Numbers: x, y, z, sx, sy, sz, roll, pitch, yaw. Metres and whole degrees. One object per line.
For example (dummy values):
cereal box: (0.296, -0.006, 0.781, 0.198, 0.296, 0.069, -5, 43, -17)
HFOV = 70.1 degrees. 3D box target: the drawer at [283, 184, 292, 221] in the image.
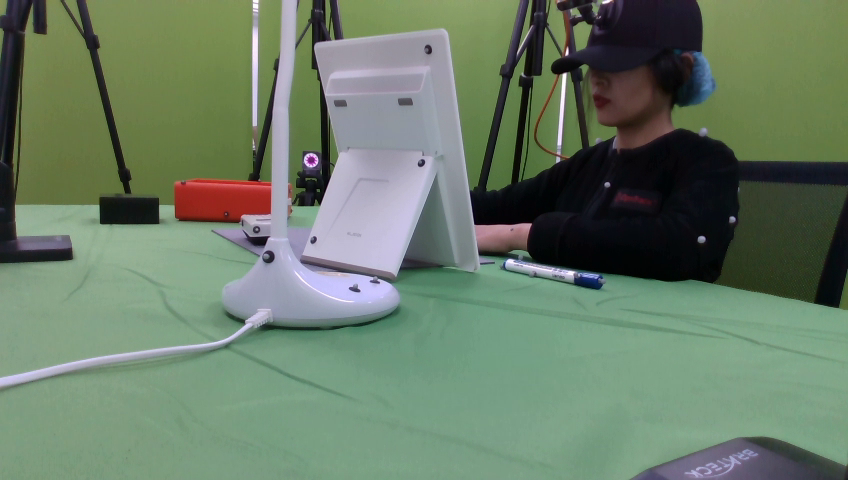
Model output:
drawer: (-0.397, -0.086, 1.314, 0.212, 0.073, 0.194, 1, 8, -9)

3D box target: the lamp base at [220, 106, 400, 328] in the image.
lamp base: (-0.101, -0.023, 0.531, 0.160, 0.180, 0.179, 4, 10, 10)

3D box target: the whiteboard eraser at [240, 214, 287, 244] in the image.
whiteboard eraser: (-0.256, -0.018, 0.958, 0.056, 0.042, 0.112, 0, 8, -25)

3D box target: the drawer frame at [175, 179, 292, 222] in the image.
drawer frame: (-0.402, -0.087, 1.311, 0.214, 0.082, 0.201, 1, 8, -9)

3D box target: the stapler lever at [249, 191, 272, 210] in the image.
stapler lever: (-0.353, -0.086, 1.306, 0.027, 0.040, 0.118, -2, 5, -3)

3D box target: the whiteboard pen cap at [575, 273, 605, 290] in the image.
whiteboard pen cap: (0.197, 0.048, 0.719, 0.018, 0.018, 0.033, -4, 11, -41)

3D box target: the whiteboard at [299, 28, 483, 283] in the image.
whiteboard: (-0.075, -0.082, 0.741, 0.216, 0.305, 0.144, 9, 30, 38)

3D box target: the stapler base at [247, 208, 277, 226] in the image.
stapler base: (-0.350, -0.054, 1.310, 0.041, 0.024, 0.130, -1, 12, -3)

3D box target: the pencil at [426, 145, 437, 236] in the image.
pencil: (0.013, -0.091, 1.087, 0.012, 0.193, 0.012, 4, -27, 2)

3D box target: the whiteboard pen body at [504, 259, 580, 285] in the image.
whiteboard pen body: (0.157, 0.042, 0.764, 0.017, 0.017, 0.140, -4, 10, -41)
